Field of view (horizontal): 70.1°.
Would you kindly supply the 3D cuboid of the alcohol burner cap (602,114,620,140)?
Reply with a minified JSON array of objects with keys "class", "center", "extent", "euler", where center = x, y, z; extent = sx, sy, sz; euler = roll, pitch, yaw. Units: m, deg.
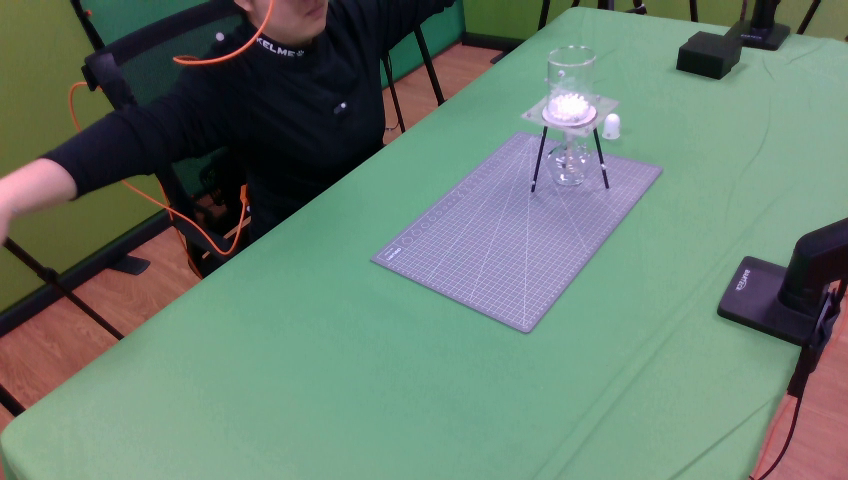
[{"class":"alcohol burner cap","center":[0.359,-0.217,1.157],"extent":[0.034,0.048,0.033],"euler":[-7,40,6]}]

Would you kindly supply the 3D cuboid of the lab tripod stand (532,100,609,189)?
[{"class":"lab tripod stand","center":[0.251,-0.161,1.034],"extent":[0.148,0.132,0.147],"euler":[-4,39,4]}]

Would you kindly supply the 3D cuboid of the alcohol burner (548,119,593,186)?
[{"class":"alcohol burner","center":[0.252,-0.154,1.042],"extent":[0.078,0.120,0.077],"euler":[-7,40,7]}]

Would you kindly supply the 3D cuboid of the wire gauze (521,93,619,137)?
[{"class":"wire gauze","center":[0.240,-0.212,0.995],"extent":[0.124,0.011,0.122],"euler":[22,46,34]}]

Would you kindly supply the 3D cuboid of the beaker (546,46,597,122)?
[{"class":"beaker","center":[0.229,-0.246,0.962],"extent":[0.083,0.101,0.074],"euler":[25,49,34]}]
